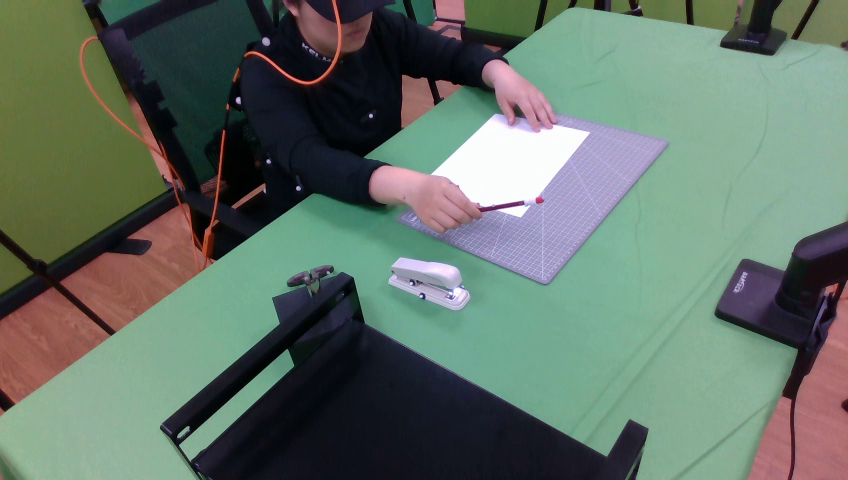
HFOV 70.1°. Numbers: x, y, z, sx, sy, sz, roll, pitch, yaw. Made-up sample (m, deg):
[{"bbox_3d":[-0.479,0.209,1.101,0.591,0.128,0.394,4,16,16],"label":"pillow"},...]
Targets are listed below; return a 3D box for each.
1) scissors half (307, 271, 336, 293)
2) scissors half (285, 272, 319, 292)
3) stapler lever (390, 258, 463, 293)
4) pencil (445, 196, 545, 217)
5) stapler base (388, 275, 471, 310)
[{"bbox_3d":[-0.152,0.061,0.872,0.040,0.013,0.175,-3,6,-4],"label":"scissors half"},{"bbox_3d":[-0.171,0.063,0.868,0.040,0.013,0.174,-11,7,-21],"label":"scissors half"},{"bbox_3d":[0.002,0.046,0.881,0.117,0.040,0.027,17,43,29],"label":"stapler lever"},{"bbox_3d":[0.101,-0.048,0.919,0.192,0.012,0.012,-8,31,44],"label":"pencil"},{"bbox_3d":[0.007,0.066,0.897,0.129,0.024,0.041,17,43,29],"label":"stapler base"}]
